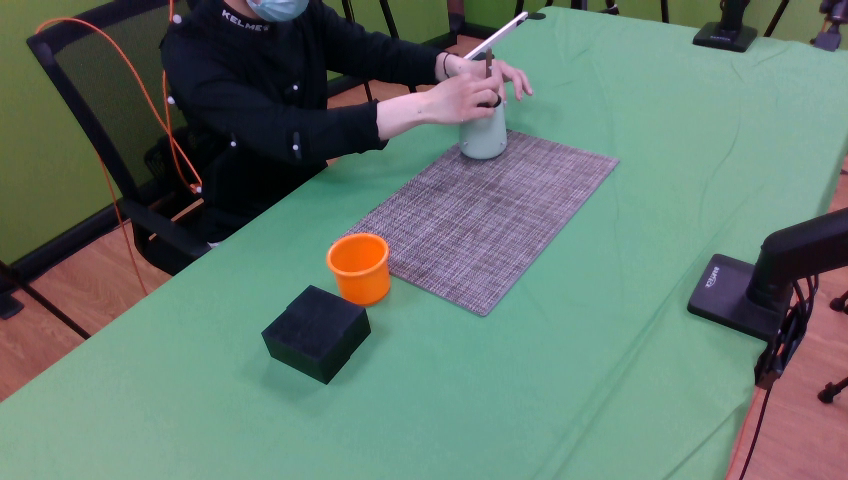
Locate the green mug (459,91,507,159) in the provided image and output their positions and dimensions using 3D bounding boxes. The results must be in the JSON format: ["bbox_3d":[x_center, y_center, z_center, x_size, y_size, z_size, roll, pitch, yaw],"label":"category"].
[{"bbox_3d":[0.117,-0.225,1.144,0.092,0.105,0.125,14,45,24],"label":"green mug"}]

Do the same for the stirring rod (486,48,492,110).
[{"bbox_3d":[0.119,-0.261,1.108,0.006,0.177,0.014,17,37,30],"label":"stirring rod"}]
